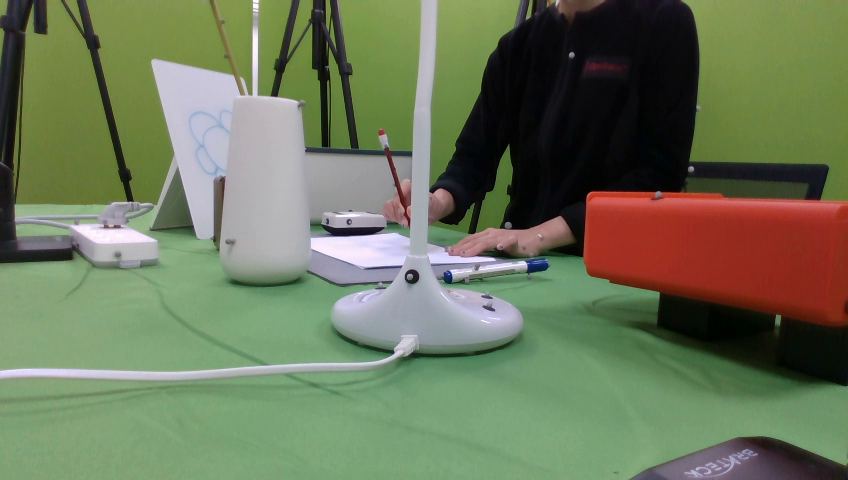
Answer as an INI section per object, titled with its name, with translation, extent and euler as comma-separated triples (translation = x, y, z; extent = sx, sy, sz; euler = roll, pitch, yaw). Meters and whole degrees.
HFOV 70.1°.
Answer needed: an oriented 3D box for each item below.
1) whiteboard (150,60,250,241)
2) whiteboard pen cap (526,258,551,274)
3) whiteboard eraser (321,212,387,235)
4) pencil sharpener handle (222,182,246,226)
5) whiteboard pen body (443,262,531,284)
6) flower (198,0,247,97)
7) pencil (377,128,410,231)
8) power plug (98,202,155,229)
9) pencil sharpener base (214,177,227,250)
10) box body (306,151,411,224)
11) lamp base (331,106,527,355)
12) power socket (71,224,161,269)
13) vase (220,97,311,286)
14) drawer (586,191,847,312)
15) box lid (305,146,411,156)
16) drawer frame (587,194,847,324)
[whiteboard]
translation = -0.408, -0.139, 1.093
extent = 0.143, 0.305, 0.218
euler = -15, -1, 26
[whiteboard pen cap]
translation = 0.141, 0.033, 0.759
extent = 0.033, 0.018, 0.018
euler = -8, 11, -26
[whiteboard eraser]
translation = -0.128, -0.031, 1.108
extent = 0.113, 0.042, 0.055
euler = -3, 7, -38
[pencil sharpener handle]
translation = -0.289, -0.055, 0.912
extent = 0.036, 0.067, 0.030
euler = -3, 9, -29
[whiteboard pen body]
translation = 0.087, 0.038, 0.734
extent = 0.141, 0.017, 0.017
euler = -5, 10, -27
[flower]
translation = -0.187, -0.133, 0.648
extent = 0.038, 0.362, 0.044
euler = -1, 22, 43
[pencil]
translation = -0.038, -0.076, 0.920
extent = 0.012, 0.194, 0.012
euler = -17, 9, 3
[power plug]
translation = -0.416, -0.027, 0.848
extent = 0.073, 0.052, 0.035
euler = 0, 8, -28
[pencil sharpener base]
translation = -0.265, -0.036, 0.870
extent = 0.061, 0.107, 0.076
euler = -2, 8, -29
[box body]
translation = -0.230, -0.126, 1.371
extent = 0.366, 0.160, 0.253
euler = -2, 8, -33
[lamp base]
translation = 0.006, -0.012, 0.478
extent = 0.161, 0.180, 0.179
euler = 2, 10, 2
[power socket]
translation = -0.408, 0.004, 0.793
extent = 0.072, 0.032, 0.225
euler = -2, 8, -38
[vase]
translation = -0.172, -0.052, 0.662
extent = 0.098, 0.200, 0.098
euler = 3, 8, 0
[drawer]
translation = 0.281, 0.001, 0.513
extent = 0.195, 0.073, 0.210
euler = -1, 8, -29
[box lid]
translation = -0.229, -0.200, 1.360
extent = 0.373, 0.015, 0.262
euler = -3, 9, -33
[drawer frame]
translation = 0.286, 0.004, 0.508
extent = 0.203, 0.082, 0.212
euler = -1, 6, -30
